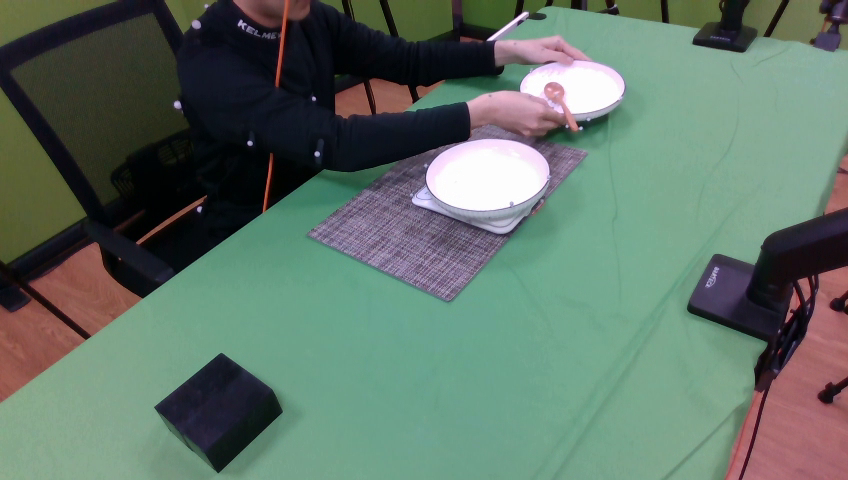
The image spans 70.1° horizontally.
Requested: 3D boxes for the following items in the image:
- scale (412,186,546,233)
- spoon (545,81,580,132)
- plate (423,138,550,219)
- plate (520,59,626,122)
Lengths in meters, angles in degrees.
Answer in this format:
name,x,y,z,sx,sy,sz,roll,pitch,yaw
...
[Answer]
name,x,y,z,sx,sy,sz,roll,pitch,yaw
scale,0.093,-0.083,1.038,0.199,0.032,0.149,22,48,30
spoon,0.269,-0.259,1.165,0.041,0.022,0.192,-6,37,1
plate,0.104,-0.099,1.005,0.207,0.039,0.206,-4,41,4
plate,0.299,-0.298,1.224,0.209,0.038,0.208,-5,44,5
